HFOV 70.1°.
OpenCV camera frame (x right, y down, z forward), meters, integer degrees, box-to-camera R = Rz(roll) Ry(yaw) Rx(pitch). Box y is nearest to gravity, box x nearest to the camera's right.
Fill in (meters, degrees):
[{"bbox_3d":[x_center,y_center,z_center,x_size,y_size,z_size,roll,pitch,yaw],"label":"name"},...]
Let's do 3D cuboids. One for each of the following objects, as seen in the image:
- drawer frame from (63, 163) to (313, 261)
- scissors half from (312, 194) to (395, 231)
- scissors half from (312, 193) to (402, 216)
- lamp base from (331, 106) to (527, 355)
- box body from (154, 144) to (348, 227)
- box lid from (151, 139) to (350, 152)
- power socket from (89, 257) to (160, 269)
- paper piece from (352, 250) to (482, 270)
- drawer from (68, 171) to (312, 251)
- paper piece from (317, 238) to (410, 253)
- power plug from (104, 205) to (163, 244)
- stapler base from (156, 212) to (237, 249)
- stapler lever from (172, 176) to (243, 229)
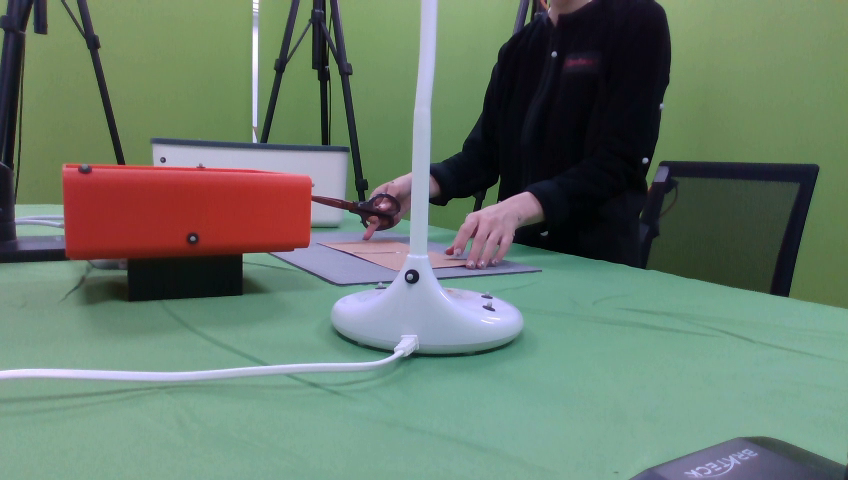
[{"bbox_3d":[-0.248,-0.036,0.626,0.215,0.082,0.200,-3,9,-31],"label":"drawer frame"},{"bbox_3d":[-0.126,-0.049,1.018,0.176,0.040,0.012,22,25,-33],"label":"scissors half"},{"bbox_3d":[-0.117,-0.065,1.010,0.176,0.040,0.013,4,28,-26],"label":"scissors half"},{"bbox_3d":[0.006,-0.012,0.478,0.161,0.180,0.179,2,10,2],"label":"lamp base"},{"bbox_3d":[-0.357,-0.119,1.264,0.365,0.160,0.253,0,7,-18],"label":"box body"},{"bbox_3d":[-0.352,-0.191,1.256,0.373,0.015,0.262,0,8,-18],"label":"box lid"},{"bbox_3d":[-0.409,0.004,0.793,0.072,0.032,0.225,-2,8,-38],"label":"power socket"},{"bbox_3d":[-0.013,0.026,0.842,0.139,0.008,0.135,0,11,-32],"label":"paper piece"},{"bbox_3d":[-0.246,-0.036,0.629,0.213,0.073,0.193,-3,9,-30],"label":"drawer"},{"bbox_3d":[-0.083,0.008,0.949,0.136,0.004,0.135,-1,9,-29],"label":"paper piece"},{"bbox_3d":[-0.390,-0.021,0.815,0.073,0.052,0.035,-1,7,-27],"label":"power plug"},{"bbox_3d":[-0.227,-0.017,0.624,0.041,0.024,0.130,18,10,-2],"label":"stapler base"},{"bbox_3d":[-0.217,-0.041,0.618,0.027,0.040,0.118,18,11,-2],"label":"stapler lever"}]
